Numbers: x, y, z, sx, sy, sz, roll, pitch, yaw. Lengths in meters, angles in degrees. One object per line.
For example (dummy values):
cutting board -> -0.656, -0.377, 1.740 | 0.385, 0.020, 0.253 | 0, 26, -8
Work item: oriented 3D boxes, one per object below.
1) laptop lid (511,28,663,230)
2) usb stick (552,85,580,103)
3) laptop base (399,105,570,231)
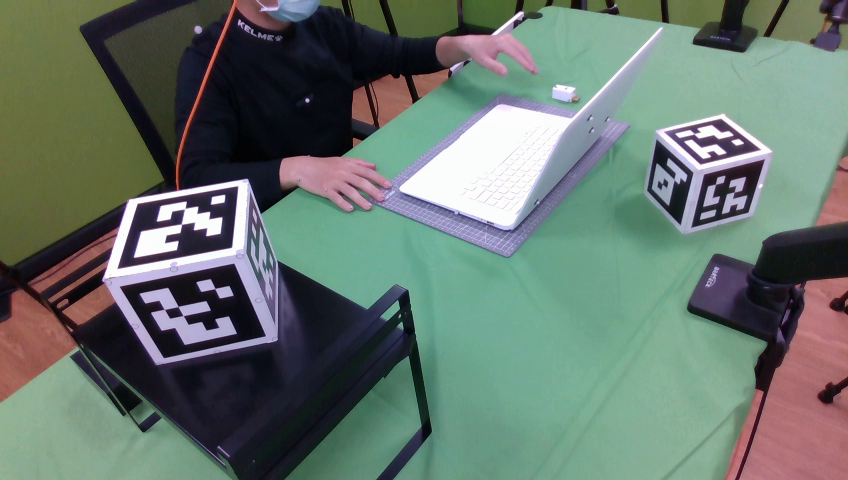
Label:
laptop lid -> 0.265, -0.179, 0.972 | 0.013, 0.242, 0.357 | 36, 53, 14
usb stick -> 0.303, -0.308, 1.282 | 0.059, 0.027, 0.021 | 25, 46, 29
laptop base -> 0.149, -0.147, 1.123 | 0.233, 0.023, 0.355 | 20, 47, 32
